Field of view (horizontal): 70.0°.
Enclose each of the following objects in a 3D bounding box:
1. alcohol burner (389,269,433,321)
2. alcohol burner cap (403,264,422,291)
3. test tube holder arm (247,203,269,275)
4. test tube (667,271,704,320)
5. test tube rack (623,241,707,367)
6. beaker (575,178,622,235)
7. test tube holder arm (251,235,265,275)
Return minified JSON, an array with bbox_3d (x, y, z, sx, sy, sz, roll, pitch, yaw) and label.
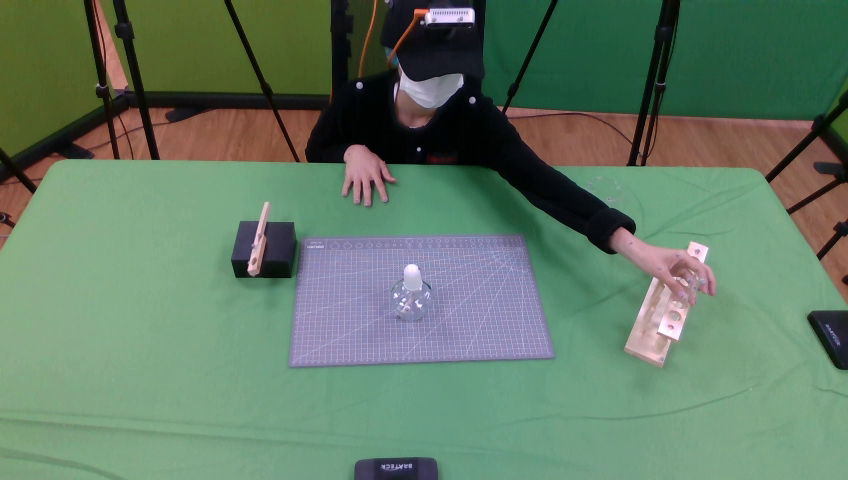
[{"bbox_3d":[-0.022,0.086,1.046,0.078,0.119,0.077,2,48,-2],"label":"alcohol burner"},{"bbox_3d":[-0.021,0.060,1.021,0.034,0.048,0.033,-1,46,2],"label":"alcohol burner cap"},{"bbox_3d":[-0.304,-0.006,1.116,0.013,0.015,0.177,-6,45,2],"label":"test tube holder arm"},{"bbox_3d":[0.433,0.104,1.020,0.017,0.151,0.017,3,48,-3],"label":"test tube"},{"bbox_3d":[0.435,0.104,1.089,0.066,0.085,0.242,24,49,19],"label":"test tube rack"},{"bbox_3d":[0.356,-0.068,1.240,0.084,0.101,0.073,-18,50,-21],"label":"beaker"},{"bbox_3d":[-0.297,0.025,1.085,0.010,0.015,0.087,-5,45,2],"label":"test tube holder arm"}]
